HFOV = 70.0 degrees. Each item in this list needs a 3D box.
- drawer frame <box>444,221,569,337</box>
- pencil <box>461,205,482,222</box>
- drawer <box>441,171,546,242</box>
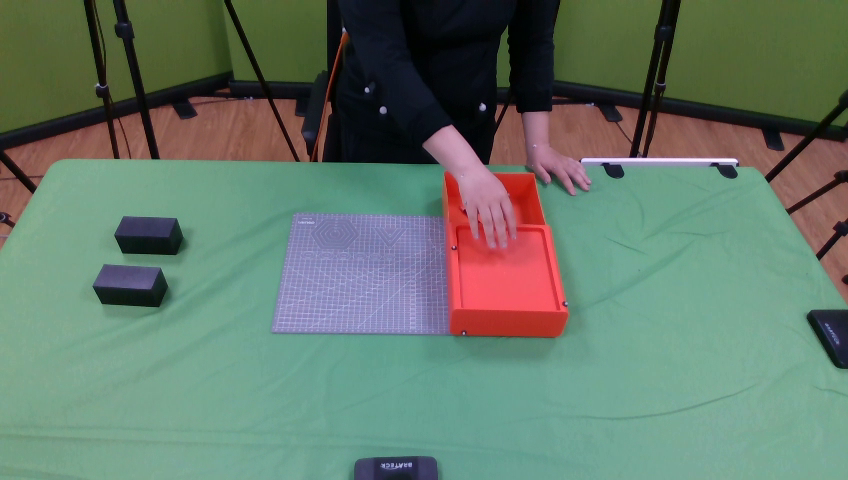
[{"bbox_3d":[0.141,0.067,1.097,0.202,0.083,0.212,2,46,-4],"label":"drawer frame"},{"bbox_3d":[0.133,-0.017,1.220,0.012,0.012,0.193,-24,50,-25],"label":"pencil"},{"bbox_3d":[0.137,-0.048,1.214,0.195,0.073,0.210,2,43,-4],"label":"drawer"}]
